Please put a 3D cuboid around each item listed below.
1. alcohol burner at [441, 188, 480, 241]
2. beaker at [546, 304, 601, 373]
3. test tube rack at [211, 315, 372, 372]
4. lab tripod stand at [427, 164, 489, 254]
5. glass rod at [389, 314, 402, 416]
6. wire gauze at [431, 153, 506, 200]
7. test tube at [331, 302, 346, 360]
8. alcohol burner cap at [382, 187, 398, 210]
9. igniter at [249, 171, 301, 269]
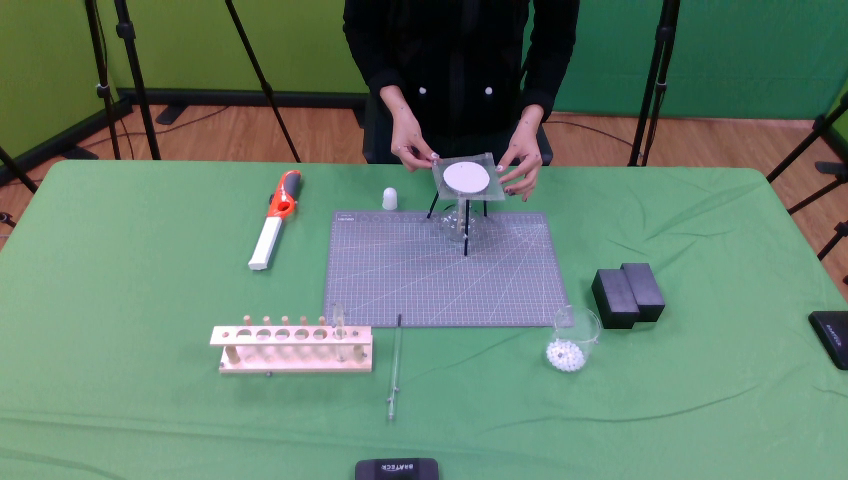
[{"bbox_3d":[0.073,-0.055,1.189,0.078,0.120,0.077,1,47,0],"label":"alcohol burner"},{"bbox_3d":[0.242,0.167,1.001,0.084,0.101,0.073,-32,55,-28],"label":"beaker"},{"bbox_3d":[-0.208,0.164,0.982,0.242,0.085,0.066,1,46,-4],"label":"test tube rack"},{"bbox_3d":[0.078,-0.068,1.188,0.148,0.132,0.147,3,47,-3],"label":"lab tripod stand"},{"bbox_3d":[-0.048,0.203,1.008,0.008,0.008,0.198,4,45,0],"label":"glass rod"},{"bbox_3d":[0.081,-0.118,1.133,0.125,0.011,0.120,-3,49,-6],"label":"wire gauze"},{"bbox_3d":[-0.132,0.144,0.938,0.017,0.151,0.017,2,49,-3],"label":"test tube"},{"bbox_3d":[-0.072,-0.090,1.266,0.034,0.048,0.033,2,47,-2],"label":"alcohol burner cap"},{"bbox_3d":[-0.297,-0.049,1.220,0.057,0.025,0.275,-1,45,9],"label":"igniter"}]
